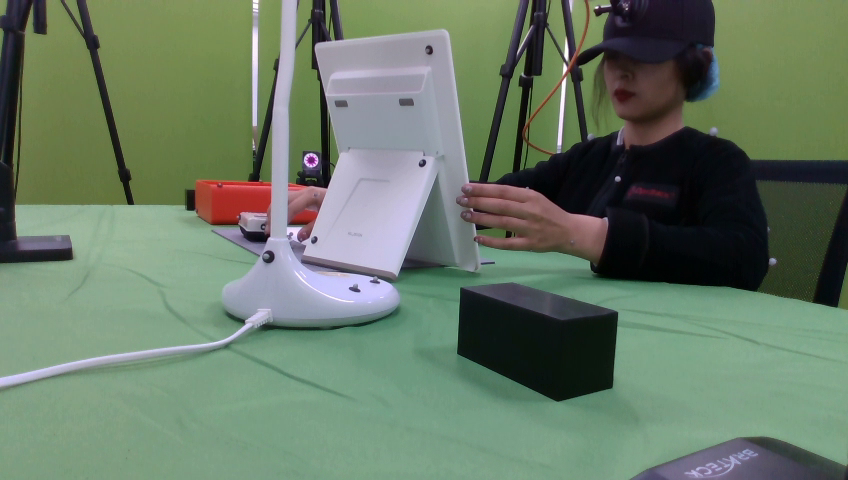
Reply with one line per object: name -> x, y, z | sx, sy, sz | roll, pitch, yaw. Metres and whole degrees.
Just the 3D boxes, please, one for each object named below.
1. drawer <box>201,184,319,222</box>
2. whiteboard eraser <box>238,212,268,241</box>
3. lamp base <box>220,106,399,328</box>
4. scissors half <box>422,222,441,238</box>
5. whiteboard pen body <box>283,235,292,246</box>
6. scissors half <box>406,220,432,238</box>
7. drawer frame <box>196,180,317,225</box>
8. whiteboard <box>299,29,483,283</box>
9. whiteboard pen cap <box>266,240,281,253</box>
drawer -> -0.353, -0.082, 1.296 | 0.213, 0.073, 0.193 | -2, 10, -28
whiteboard eraser -> -0.272, -0.023, 0.998 | 0.056, 0.042, 0.112 | -2, 9, -24
lamp base -> -0.101, -0.023, 0.531 | 0.160, 0.180, 0.179 | 4, 10, 10
scissors half -> 0.013, -0.018, 1.217 | 0.040, 0.013, 0.175 | 14, 9, 1
whiteboard pen body -> -0.206, 0.005, 0.872 | 0.017, 0.017, 0.140 | 2, 4, -6
scissors half -> -0.006, -0.021, 1.215 | 0.040, 0.013, 0.174 | 6, 10, -15
drawer frame -> -0.359, -0.083, 1.292 | 0.215, 0.082, 0.200 | -2, 10, -30
whiteboard -> -0.074, -0.082, 0.742 | 0.216, 0.305, 0.144 | 9, 29, 38
whiteboard pen cap -> -0.202, 0.009, 0.813 | 0.018, 0.018, 0.033 | 1, 3, -8
